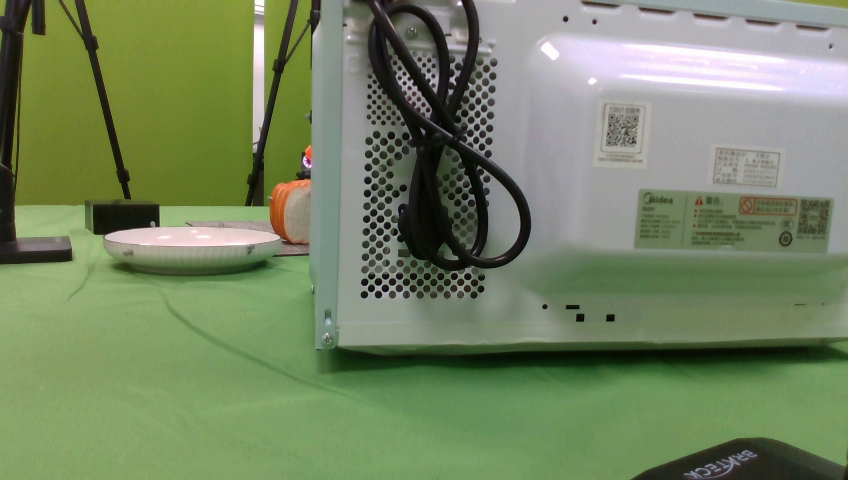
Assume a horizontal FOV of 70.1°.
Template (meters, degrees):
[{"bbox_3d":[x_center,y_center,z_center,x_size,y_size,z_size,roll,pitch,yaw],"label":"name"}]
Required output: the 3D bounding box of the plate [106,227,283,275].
[{"bbox_3d":[-0.288,0.013,0.772,0.208,0.039,0.207,2,7,0],"label":"plate"}]

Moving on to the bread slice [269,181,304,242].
[{"bbox_3d":[-0.191,-0.050,1.001,0.135,0.107,0.018,-3,10,-39],"label":"bread slice"}]

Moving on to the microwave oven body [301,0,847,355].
[{"bbox_3d":[0.120,-0.053,0.535,0.443,0.260,0.325,2,7,-11],"label":"microwave oven body"}]

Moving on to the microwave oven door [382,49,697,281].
[{"bbox_3d":[0.135,-0.077,0.685,0.357,0.243,0.039,1,8,-12],"label":"microwave oven door"}]

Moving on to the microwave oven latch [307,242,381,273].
[{"bbox_3d":[-0.086,0.019,0.656,0.079,0.029,0.030,2,7,-10],"label":"microwave oven latch"}]

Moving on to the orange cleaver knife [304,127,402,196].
[{"bbox_3d":[-0.117,-0.116,1.037,0.012,0.077,0.212,15,-13,46],"label":"orange cleaver knife"}]
